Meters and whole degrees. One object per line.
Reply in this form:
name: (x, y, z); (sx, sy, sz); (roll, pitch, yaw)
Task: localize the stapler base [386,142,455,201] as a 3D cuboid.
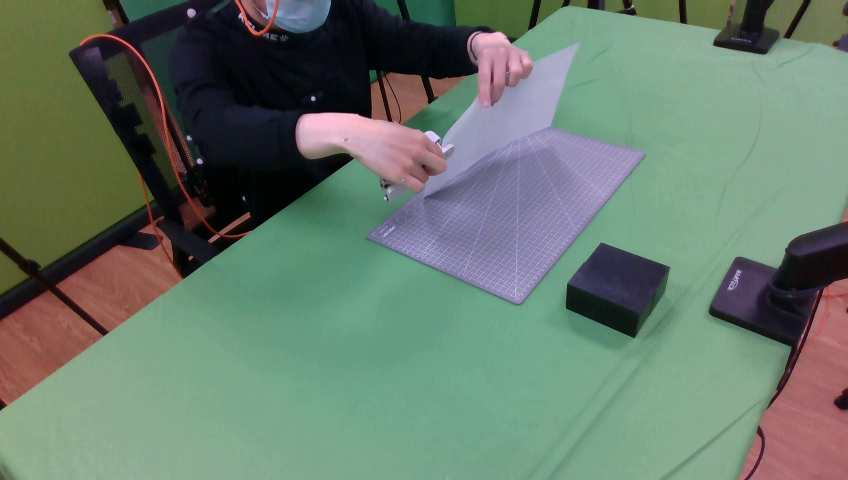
stapler base: (-0.010, -0.109, 0.907); (0.131, 0.041, 0.024); (-40, 78, -16)

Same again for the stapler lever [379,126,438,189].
stapler lever: (-0.027, -0.126, 0.910); (0.118, 0.027, 0.040); (-40, 79, -16)
